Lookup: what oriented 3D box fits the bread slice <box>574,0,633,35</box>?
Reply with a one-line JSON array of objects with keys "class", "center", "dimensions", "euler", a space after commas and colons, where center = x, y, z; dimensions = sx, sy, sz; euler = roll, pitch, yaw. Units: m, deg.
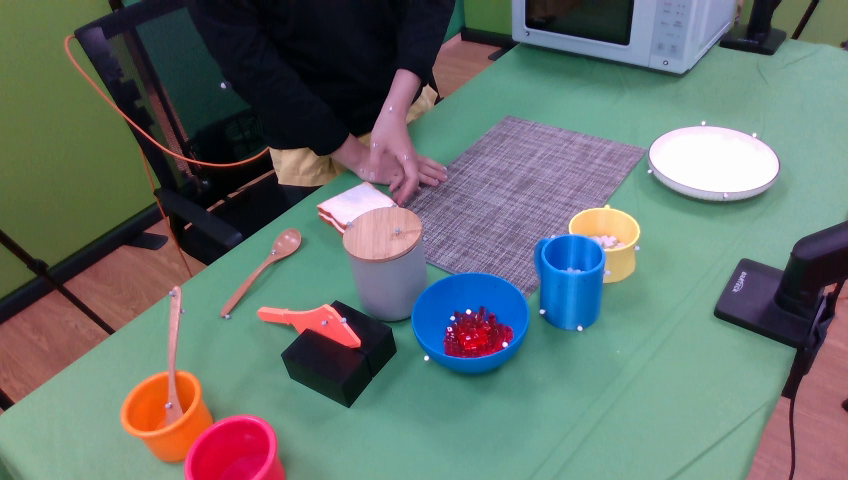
[{"class": "bread slice", "center": [0.431, -0.562, 1.476], "dimensions": [0.105, 0.019, 0.131], "euler": [-29, 68, -21]}]

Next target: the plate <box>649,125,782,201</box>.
[{"class": "plate", "center": [0.493, -0.128, 1.036], "dimensions": [0.207, 0.039, 0.206], "euler": [-4, 41, 4]}]

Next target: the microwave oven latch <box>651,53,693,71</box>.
[{"class": "microwave oven latch", "center": [0.532, -0.387, 1.301], "dimensions": [0.078, 0.029, 0.030], "euler": [27, 52, 34]}]

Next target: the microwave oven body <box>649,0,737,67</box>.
[{"class": "microwave oven body", "center": [0.475, -0.602, 1.411], "dimensions": [0.438, 0.261, 0.327], "euler": [23, 50, 32]}]

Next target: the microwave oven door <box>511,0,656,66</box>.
[{"class": "microwave oven door", "center": [0.351, -0.539, 1.349], "dimensions": [0.353, 0.245, 0.039], "euler": [24, 50, 31]}]

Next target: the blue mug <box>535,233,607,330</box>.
[{"class": "blue mug", "center": [0.191, 0.048, 0.824], "dimensions": [0.082, 0.106, 0.115], "euler": [-26, 44, -20]}]

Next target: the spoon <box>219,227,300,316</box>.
[{"class": "spoon", "center": [-0.261, 0.046, 0.954], "dimensions": [0.041, 0.021, 0.194], "euler": [27, 48, 10]}]

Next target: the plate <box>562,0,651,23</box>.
[{"class": "plate", "center": [0.439, -0.572, 1.456], "dimensions": [0.209, 0.038, 0.208], "euler": [-6, 44, 6]}]

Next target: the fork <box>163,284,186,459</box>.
[{"class": "fork", "center": [-0.302, 0.157, 0.733], "dimensions": [0.028, 0.019, 0.207], "euler": [-4, 84, 16]}]

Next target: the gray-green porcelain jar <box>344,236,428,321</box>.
[{"class": "gray-green porcelain jar", "center": [-0.049, 0.042, 0.849], "dimensions": [0.106, 0.127, 0.105], "euler": [-4, 41, 4]}]

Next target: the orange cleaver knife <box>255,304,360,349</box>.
[{"class": "orange cleaver knife", "center": [-0.161, 0.115, 0.813], "dimensions": [0.210, 0.077, 0.012], "euler": [-4, 32, 47]}]

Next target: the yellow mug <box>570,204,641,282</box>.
[{"class": "yellow mug", "center": [0.268, -0.005, 0.904], "dimensions": [0.099, 0.064, 0.130], "euler": [7, 41, 15]}]

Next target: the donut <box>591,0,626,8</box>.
[{"class": "donut", "center": [0.437, -0.588, 1.433], "dimensions": [0.099, 0.048, 0.098], "euler": [-2, 53, 4]}]

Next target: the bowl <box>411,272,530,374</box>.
[{"class": "bowl", "center": [0.061, 0.120, 0.780], "dimensions": [0.151, 0.077, 0.150], "euler": [-4, 40, 4]}]

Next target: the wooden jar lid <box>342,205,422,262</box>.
[{"class": "wooden jar lid", "center": [-0.055, -0.006, 0.808], "dimensions": [0.108, 0.021, 0.108], "euler": [-6, 41, 6]}]
